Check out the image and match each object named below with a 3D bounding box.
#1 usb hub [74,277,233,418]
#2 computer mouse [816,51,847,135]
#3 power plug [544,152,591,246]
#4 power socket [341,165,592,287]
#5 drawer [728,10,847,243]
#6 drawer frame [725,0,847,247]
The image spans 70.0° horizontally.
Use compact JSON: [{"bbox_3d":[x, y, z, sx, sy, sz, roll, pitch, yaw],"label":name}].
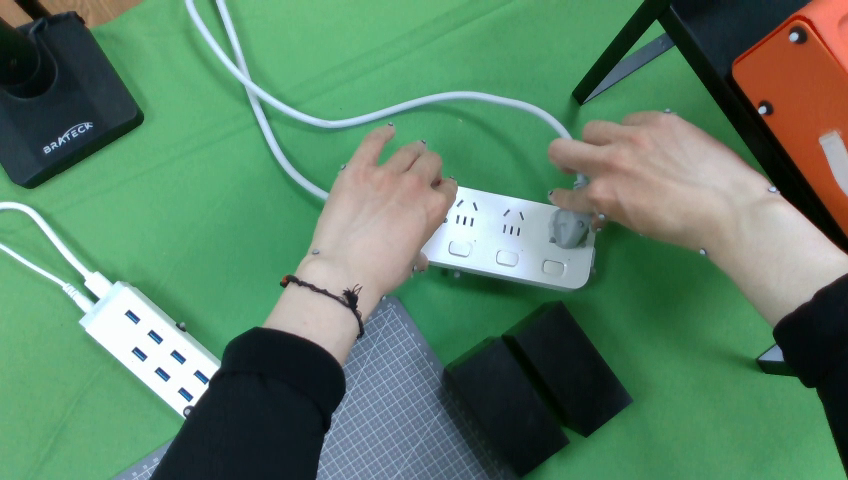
[{"bbox_3d":[-0.224,0.089,0.505,0.125,0.025,0.049,41,83,1],"label":"usb hub"},{"bbox_3d":[0.305,-0.075,0.377,0.063,0.041,0.117,-37,85,-4],"label":"computer mouse"},{"bbox_3d":[0.125,-0.030,0.515,0.035,0.052,0.072,22,76,-11],"label":"power plug"},{"bbox_3d":[0.042,-0.012,0.536,0.227,0.032,0.072,11,82,-3],"label":"power socket"},{"bbox_3d":[0.331,-0.090,0.366,0.212,0.073,0.194,-33,86,-9],"label":"drawer"},{"bbox_3d":[0.333,-0.094,0.366,0.213,0.083,0.201,-34,87,-9],"label":"drawer frame"}]
